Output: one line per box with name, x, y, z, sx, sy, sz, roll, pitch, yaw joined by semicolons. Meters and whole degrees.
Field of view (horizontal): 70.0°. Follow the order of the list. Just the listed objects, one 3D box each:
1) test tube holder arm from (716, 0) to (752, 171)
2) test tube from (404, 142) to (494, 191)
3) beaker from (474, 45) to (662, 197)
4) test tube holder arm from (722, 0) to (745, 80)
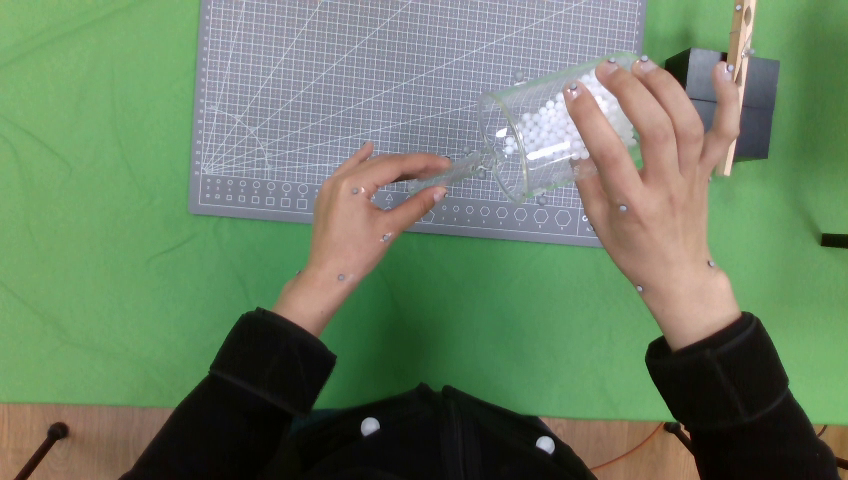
test tube holder arm;0.311;-0.159;0.607;0.013;0.015;0.178;2;95;-16
test tube;0.015;-0.057;0.490;0.017;0.149;0.017;1;86;-22
beaker;0.091;-0.078;0.391;0.100;0.084;0.074;-19;92;-8
test tube holder arm;0.309;-0.204;0.602;0.010;0.015;0.088;3;94;-16
